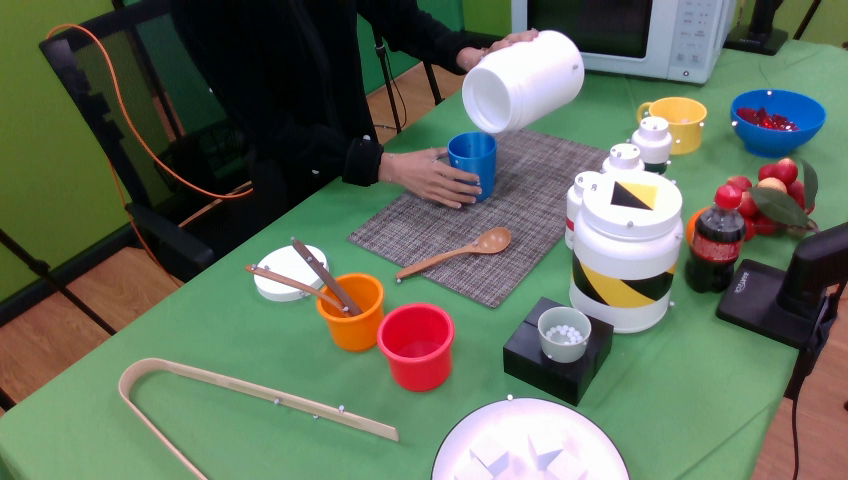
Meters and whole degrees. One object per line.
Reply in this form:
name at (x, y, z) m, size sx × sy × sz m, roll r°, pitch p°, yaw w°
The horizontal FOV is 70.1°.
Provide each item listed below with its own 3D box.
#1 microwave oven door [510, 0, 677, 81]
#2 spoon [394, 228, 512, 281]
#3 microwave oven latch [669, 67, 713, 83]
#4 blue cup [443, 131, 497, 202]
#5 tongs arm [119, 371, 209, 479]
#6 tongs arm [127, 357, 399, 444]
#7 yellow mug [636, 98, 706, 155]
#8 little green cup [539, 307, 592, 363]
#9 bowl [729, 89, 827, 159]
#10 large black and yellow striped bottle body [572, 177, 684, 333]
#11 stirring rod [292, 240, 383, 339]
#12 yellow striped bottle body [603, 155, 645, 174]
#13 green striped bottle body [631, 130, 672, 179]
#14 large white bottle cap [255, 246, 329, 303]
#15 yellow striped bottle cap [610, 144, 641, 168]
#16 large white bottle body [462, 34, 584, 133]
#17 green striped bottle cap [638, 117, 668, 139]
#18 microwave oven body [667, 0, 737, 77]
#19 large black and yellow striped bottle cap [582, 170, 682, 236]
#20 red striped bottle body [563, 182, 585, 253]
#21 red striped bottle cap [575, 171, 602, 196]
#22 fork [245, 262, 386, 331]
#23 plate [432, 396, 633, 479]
microwave oven door at (0.354, -0.478, 1.290) m, size 0.353 × 0.245 × 0.039 m, roll 15°, pitch 45°, yaw 25°
spoon at (0.045, 0.024, 0.935) m, size 0.194 × 0.022 × 0.041 m, roll -18°, pitch 66°, yaw -11°
microwave oven latch at (0.556, -0.348, 1.261) m, size 0.078 × 0.029 × 0.030 m, roll 16°, pitch 46°, yaw 27°
blue cup at (0.084, -0.122, 1.040) m, size 0.092 × 0.100 × 0.092 m, roll -4°, pitch 42°, yaw 4°
tongs arm at (-0.258, 0.257, 0.700) m, size 0.384 × 0.028 × 0.028 m, roll 24°, pitch 55°, yaw 34°
tongs arm at (-0.213, 0.205, 0.755) m, size 0.382 × 0.026 × 0.051 m, roll 12°, pitch 46°, yaw 23°
yellow mug at (0.453, -0.218, 1.128) m, size 0.100 × 0.064 × 0.129 m, roll -34°, pitch 46°, yaw -27°
little green cup at (0.168, 0.115, 0.721) m, size 0.061 × 0.039 × 0.061 m, roll -4°, pitch 42°, yaw 4°
bowl at (0.615, -0.197, 1.069) m, size 0.151 × 0.077 × 0.150 m, roll -5°, pitch 40°, yaw 5°
large black and yellow striped bottle body at (0.262, 0.017, 0.788) m, size 0.131 × 0.185 × 0.130 m, roll -5°, pitch 40°, yaw 4°
stirring rod at (-0.118, 0.068, 0.825) m, size 0.176 × 0.006 × 0.014 m, roll 49°, pitch 59°, yaw -3°
yellow striped bottle body at (0.313, -0.089, 0.956) m, size 0.063 × 0.121 × 0.062 m, roll -4°, pitch 39°, yaw 4°
green striped bottle body at (0.375, -0.140, 1.007) m, size 0.063 × 0.120 × 0.063 m, roll -5°, pitch 41°, yaw 5°
large white bottle cap at (-0.208, 0.052, 0.952) m, size 0.115 × 0.018 × 0.114 m, roll -4°, pitch 41°, yaw 4°
yellow striped bottle cap at (0.307, -0.128, 0.923) m, size 0.044 × 0.019 × 0.044 m, roll -6°, pitch 39°, yaw 5°
large white bottle body at (0.164, -0.259, 1.011) m, size 0.185 × 0.131 × 0.129 m, roll -31°, pitch 44°, yaw -34°
green striped bottle cap at (0.369, -0.180, 0.974) m, size 0.044 × 0.020 × 0.044 m, roll -4°, pitch 41°, yaw 4°
microwave oven body at (0.462, -0.552, 1.369) m, size 0.439 × 0.261 × 0.326 m, roll 15°, pitch 45°, yaw 26°
large black and yellow striped bottle cap at (0.252, -0.048, 0.735) m, size 0.115 × 0.019 × 0.114 m, roll -3°, pitch 40°, yaw 3°
red striped bottle body at (0.247, -0.041, 0.910) m, size 0.063 × 0.120 × 0.062 m, roll -1°, pitch 38°, yaw 1°
red striped bottle cap at (0.242, -0.081, 0.876) m, size 0.044 × 0.018 × 0.044 m, roll -5°, pitch 44°, yaw 5°
fork at (-0.141, 0.076, 0.807) m, size 0.209 × 0.018 × 0.028 m, roll 30°, pitch 52°, yaw -24°
plate at (0.112, 0.261, 0.634) m, size 0.209 × 0.038 × 0.208 m, roll -5°, pitch 40°, yaw 4°
